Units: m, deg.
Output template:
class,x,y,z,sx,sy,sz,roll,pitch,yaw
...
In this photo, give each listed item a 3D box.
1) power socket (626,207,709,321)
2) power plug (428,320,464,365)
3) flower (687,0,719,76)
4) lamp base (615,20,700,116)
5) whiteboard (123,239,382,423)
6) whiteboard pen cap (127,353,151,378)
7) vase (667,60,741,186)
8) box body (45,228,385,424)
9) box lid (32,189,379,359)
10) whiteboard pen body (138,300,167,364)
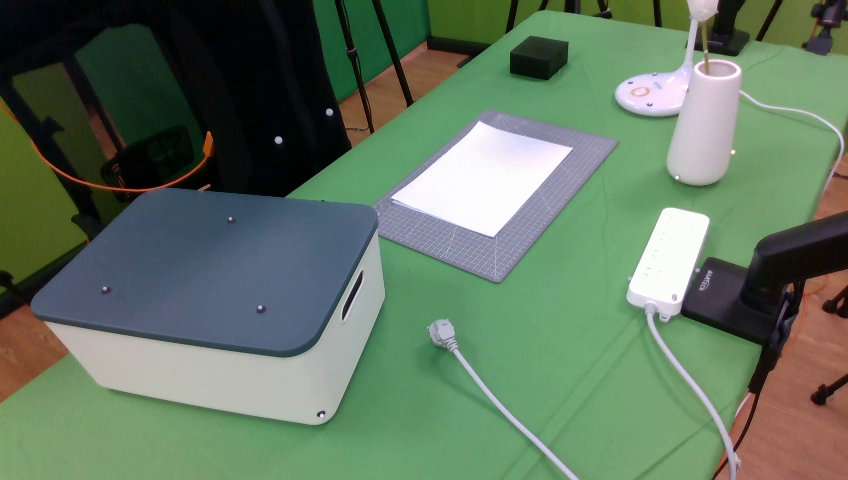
class,x,y,z,sx,sy,sz,roll,pitch,yaw
power socket,0.360,0.026,0.886,0.072,0.033,0.227,17,46,27
power plug,0.027,0.139,0.796,0.035,0.053,0.072,-8,61,-6
flower,0.436,-0.242,0.934,0.038,0.364,0.043,-24,49,8
lamp base,0.484,-0.364,1.211,0.180,0.181,0.159,-15,41,-14
whiteboard,-0.242,0.094,0.809,0.304,0.144,0.216,5,45,13
whiteboard pen cap,-0.385,0.170,0.819,0.018,0.018,0.033,7,41,16
vase,0.463,-0.189,0.994,0.098,0.201,0.097,-4,40,4
box body,-0.254,0.081,0.807,0.363,0.161,0.253,5,42,14
box lid,-0.260,0.025,0.758,0.370,0.015,0.263,5,41,14
whiteboard pen body,-0.385,0.130,0.856,0.017,0.017,0.140,-11,30,-5
